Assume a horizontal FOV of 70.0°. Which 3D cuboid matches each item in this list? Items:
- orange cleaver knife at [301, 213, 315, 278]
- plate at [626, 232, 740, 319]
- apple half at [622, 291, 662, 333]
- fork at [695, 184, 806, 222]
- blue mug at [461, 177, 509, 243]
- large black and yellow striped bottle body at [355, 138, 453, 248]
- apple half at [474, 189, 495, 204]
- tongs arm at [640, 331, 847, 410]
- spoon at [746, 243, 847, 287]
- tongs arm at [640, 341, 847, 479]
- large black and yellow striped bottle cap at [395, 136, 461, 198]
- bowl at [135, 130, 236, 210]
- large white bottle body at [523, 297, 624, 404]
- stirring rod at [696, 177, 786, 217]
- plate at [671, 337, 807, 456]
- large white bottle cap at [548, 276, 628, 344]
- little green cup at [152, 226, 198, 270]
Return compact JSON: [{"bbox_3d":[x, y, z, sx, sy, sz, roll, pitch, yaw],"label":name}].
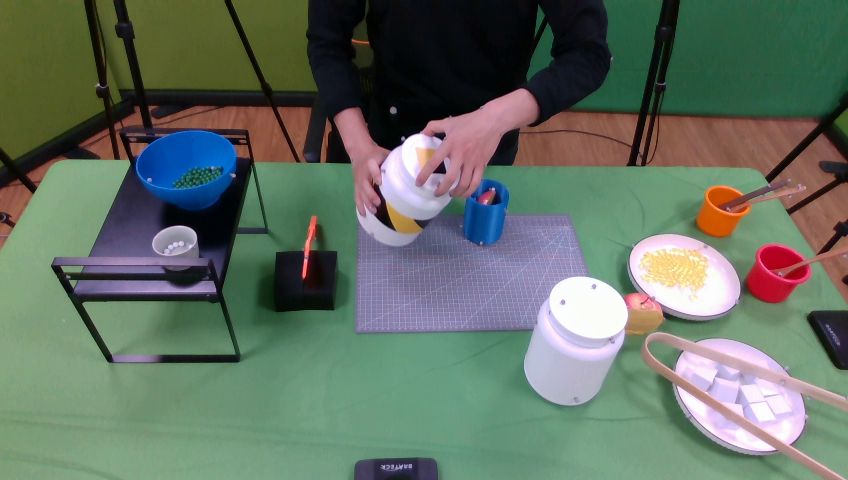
[{"bbox_3d":[-0.217,0.007,1.131,0.012,0.077,0.210,7,19,-9],"label":"orange cleaver knife"},{"bbox_3d":[0.488,0.071,1.157,0.209,0.038,0.208,3,46,-2],"label":"plate"},{"bbox_3d":[0.372,0.123,1.073,0.081,0.075,0.053,0,42,1],"label":"apple half"},{"bbox_3d":[0.658,-0.074,1.230,0.207,0.019,0.028,-24,34,36],"label":"fork"},{"bbox_3d":[0.114,-0.069,1.211,0.082,0.106,0.115,-12,48,-15],"label":"blue mug"},{"bbox_3d":[-0.029,-0.082,1.061,0.131,0.184,0.130,15,55,-23],"label":"large black and yellow striped bottle body"},{"bbox_3d":[0.109,-0.067,1.200,0.033,0.081,0.081,27,50,10],"label":"apple half"},{"bbox_3d":[0.543,0.226,0.969,0.384,0.026,0.050,22,52,13],"label":"tongs arm"},{"bbox_3d":[0.702,0.043,1.126,0.194,0.022,0.041,-29,38,30],"label":"spoon"},{"bbox_3d":[0.500,0.277,0.920,0.386,0.028,0.028,34,59,22],"label":"tongs arm"},{"bbox_3d":[0.008,-0.121,0.997,0.115,0.019,0.114,15,54,-22],"label":"large black and yellow striped bottle cap"},{"bbox_3d":[-0.375,-0.102,0.977,0.151,0.077,0.150,2,46,-2],"label":"bowl"},{"bbox_3d":[0.235,0.159,0.952,0.131,0.185,0.130,2,47,-2],"label":"large white bottle body"},{"bbox_3d":[0.648,-0.087,1.244,0.176,0.006,0.014,-25,50,29],"label":"stirring rod"},{"bbox_3d":[0.504,0.254,0.984,0.208,0.039,0.206,2,46,-2],"label":"plate"},{"bbox_3d":[0.240,0.100,0.890,0.115,0.018,0.114,3,47,-3],"label":"large white bottle cap"},{"bbox_3d":[-0.364,0.013,0.894,0.061,0.039,0.061,3,47,-3],"label":"little green cup"}]
